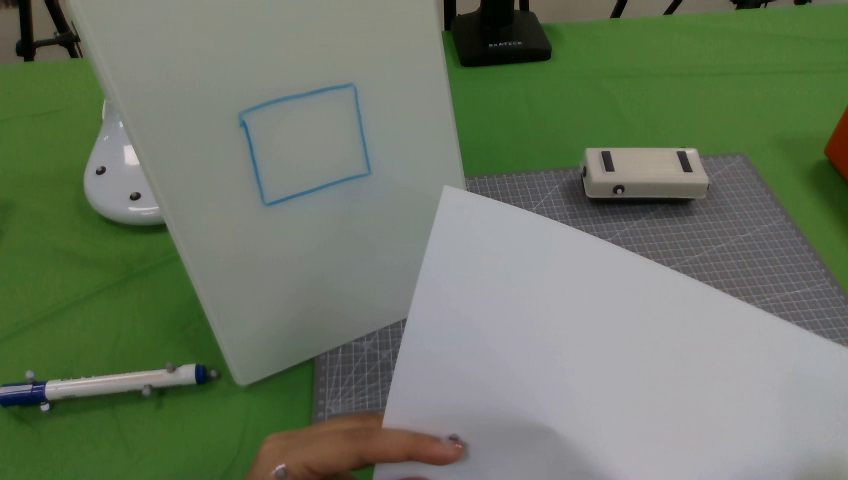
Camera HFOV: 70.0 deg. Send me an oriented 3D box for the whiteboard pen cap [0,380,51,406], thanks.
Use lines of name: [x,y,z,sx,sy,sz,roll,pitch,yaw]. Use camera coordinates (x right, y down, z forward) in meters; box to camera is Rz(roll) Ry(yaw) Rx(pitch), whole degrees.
whiteboard pen cap: [-0.296,0.114,0.453,0.033,0.018,0.018,-4,46,-11]

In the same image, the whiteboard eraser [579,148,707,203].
whiteboard eraser: [0.212,-0.062,0.595,0.112,0.042,0.055,0,45,2]

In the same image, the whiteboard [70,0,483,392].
whiteboard: [-0.098,-0.077,0.479,0.217,0.308,0.142,-21,30,-16]

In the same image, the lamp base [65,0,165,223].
lamp base: [-0.282,-0.133,0.585,0.178,0.182,0.160,25,52,27]

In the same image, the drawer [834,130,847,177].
drawer: [0.521,-0.040,0.541,0.194,0.074,0.209,-3,45,0]

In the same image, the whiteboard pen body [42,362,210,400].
whiteboard pen body: [-0.237,0.109,0.461,0.141,0.017,0.017,-5,46,-8]

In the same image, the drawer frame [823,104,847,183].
drawer frame: [0.521,-0.045,0.545,0.202,0.083,0.211,-4,46,-1]
